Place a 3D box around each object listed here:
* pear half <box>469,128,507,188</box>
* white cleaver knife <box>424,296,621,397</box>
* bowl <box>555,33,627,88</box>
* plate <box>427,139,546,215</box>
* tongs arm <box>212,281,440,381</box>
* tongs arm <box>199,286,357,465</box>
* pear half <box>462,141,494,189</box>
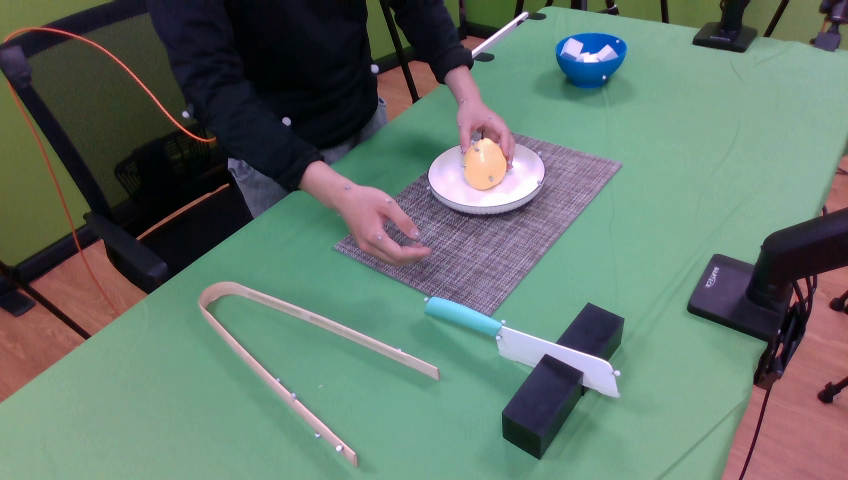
[{"bbox_3d":[0.111,-0.149,1.038,0.076,0.110,0.056,33,54,31],"label":"pear half"},{"bbox_3d":[0.110,0.132,0.761,0.284,0.066,0.021,17,42,39],"label":"white cleaver knife"},{"bbox_3d":[0.360,-0.384,1.317,0.151,0.077,0.150,-4,40,4],"label":"bowl"},{"bbox_3d":[0.109,-0.107,1.058,0.207,0.039,0.206,-4,41,4],"label":"plate"},{"bbox_3d":[-0.148,0.122,0.846,0.385,0.028,0.028,17,48,26],"label":"tongs arm"},{"bbox_3d":[-0.199,0.162,0.797,0.381,0.026,0.051,28,50,35],"label":"tongs arm"},{"bbox_3d":[0.086,-0.124,1.027,0.070,0.088,0.031,31,52,31],"label":"pear half"}]
